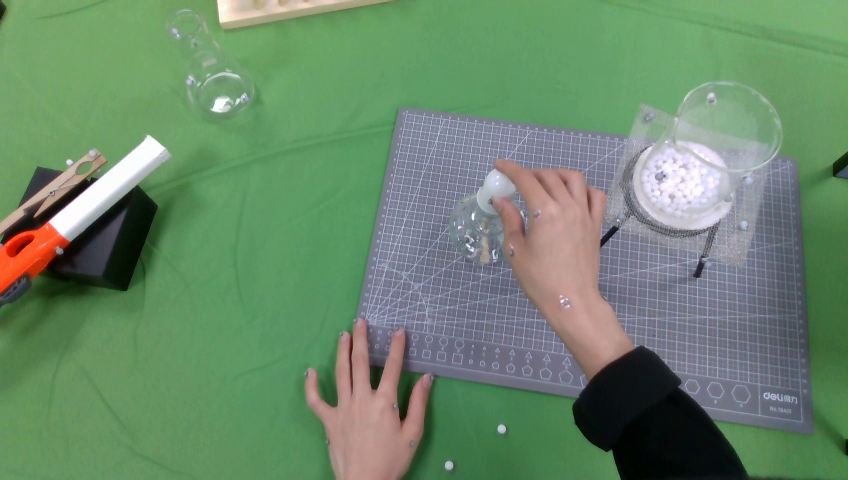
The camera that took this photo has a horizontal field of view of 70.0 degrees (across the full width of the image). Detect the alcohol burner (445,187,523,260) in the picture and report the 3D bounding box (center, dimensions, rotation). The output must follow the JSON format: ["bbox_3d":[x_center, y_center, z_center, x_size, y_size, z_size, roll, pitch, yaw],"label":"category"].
[{"bbox_3d":[0.061,-0.025,0.590,0.078,0.120,0.077,1,67,-1],"label":"alcohol burner"}]

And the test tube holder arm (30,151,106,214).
[{"bbox_3d":[-0.358,-0.057,0.605,0.088,0.015,0.010,-43,105,-14],"label":"test tube holder arm"}]

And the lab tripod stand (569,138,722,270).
[{"bbox_3d":[0.216,-0.026,0.580,0.148,0.132,0.147,1,69,-1],"label":"lab tripod stand"}]

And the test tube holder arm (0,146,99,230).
[{"bbox_3d":[-0.393,-0.031,0.592,0.178,0.015,0.013,-43,105,-14],"label":"test tube holder arm"}]

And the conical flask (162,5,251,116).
[{"bbox_3d":[-0.239,-0.196,0.653,0.075,0.122,0.075,0,69,1],"label":"conical flask"}]

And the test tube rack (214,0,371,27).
[{"bbox_3d":[-0.139,-0.330,0.722,0.242,0.086,0.066,-12,70,-4],"label":"test tube rack"}]

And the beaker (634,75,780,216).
[{"bbox_3d":[0.211,-0.067,0.473,0.084,0.101,0.073,-14,70,-5],"label":"beaker"}]

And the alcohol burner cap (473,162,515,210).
[{"bbox_3d":[0.063,-0.050,0.528,0.034,0.048,0.033,2,69,-6],"label":"alcohol burner cap"}]

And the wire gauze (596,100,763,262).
[{"bbox_3d":[0.223,-0.053,0.519,0.121,0.011,0.124,22,69,5],"label":"wire gauze"}]

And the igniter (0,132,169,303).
[{"bbox_3d":[-0.363,-0.004,0.583,0.057,0.025,0.276,37,73,22],"label":"igniter"}]
